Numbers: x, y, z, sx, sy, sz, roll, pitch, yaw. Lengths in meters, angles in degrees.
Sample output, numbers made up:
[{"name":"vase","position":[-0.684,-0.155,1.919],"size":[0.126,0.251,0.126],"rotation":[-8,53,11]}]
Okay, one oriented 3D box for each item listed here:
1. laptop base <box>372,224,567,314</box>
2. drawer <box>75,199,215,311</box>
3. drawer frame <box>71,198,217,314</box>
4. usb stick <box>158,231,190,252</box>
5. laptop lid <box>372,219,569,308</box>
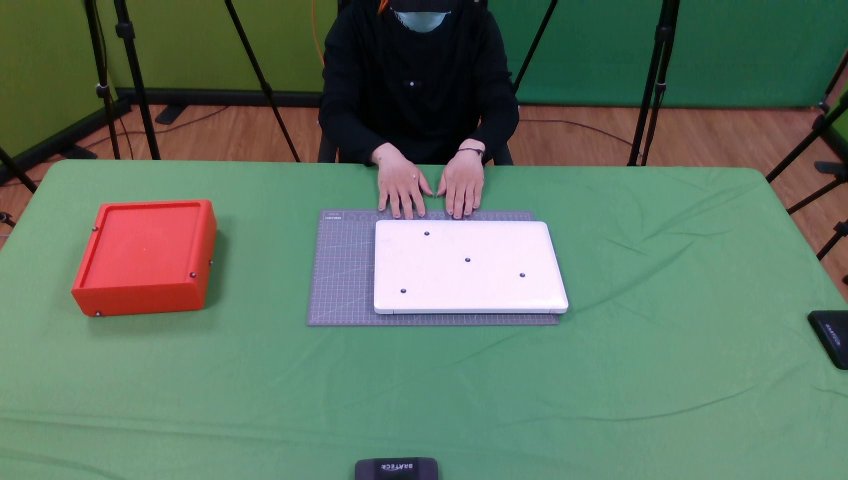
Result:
[{"name":"laptop base","position":[0.080,0.049,1.159],"size":[0.355,0.023,0.234],"rotation":[0,43,-4]},{"name":"drawer","position":[-0.494,0.023,1.097],"size":[0.195,0.073,0.210],"rotation":[-2,47,-8]},{"name":"drawer frame","position":[-0.493,0.024,1.095],"size":[0.202,0.083,0.212],"rotation":[-3,47,-8]},{"name":"usb stick","position":[-0.475,0.002,1.145],"size":[0.059,0.027,0.021],"rotation":[13,43,9]},{"name":"laptop lid","position":[0.081,0.039,1.152],"size":[0.357,0.013,0.240],"rotation":[2,44,-3]}]
